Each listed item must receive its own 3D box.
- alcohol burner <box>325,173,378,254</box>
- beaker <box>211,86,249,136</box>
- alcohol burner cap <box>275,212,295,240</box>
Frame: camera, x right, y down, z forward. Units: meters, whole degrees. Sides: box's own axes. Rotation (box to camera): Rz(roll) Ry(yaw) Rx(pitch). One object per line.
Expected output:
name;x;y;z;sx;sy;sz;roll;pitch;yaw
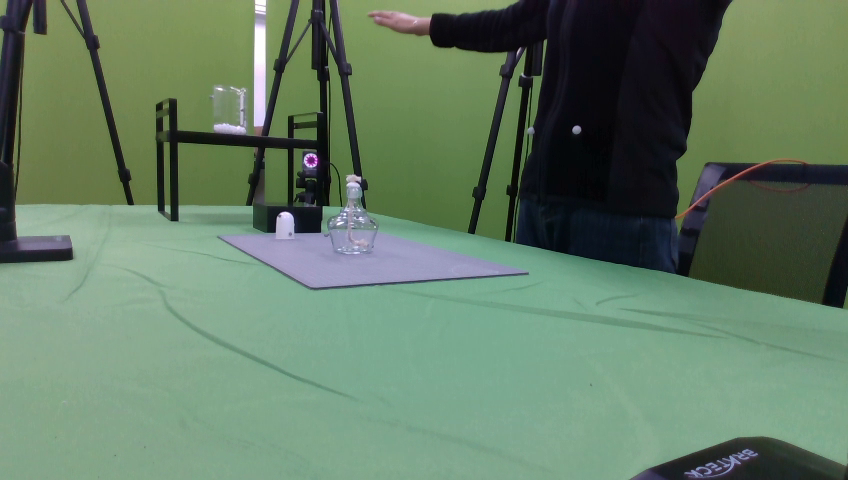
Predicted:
alcohol burner;-0.107;-0.040;0.896;0.078;0.119;0.078;2;5;0
beaker;-0.413;-0.274;1.297;0.074;0.100;0.083;-5;11;-44
alcohol burner cap;-0.233;-0.024;1.013;0.034;0.048;0.034;1;7;0
